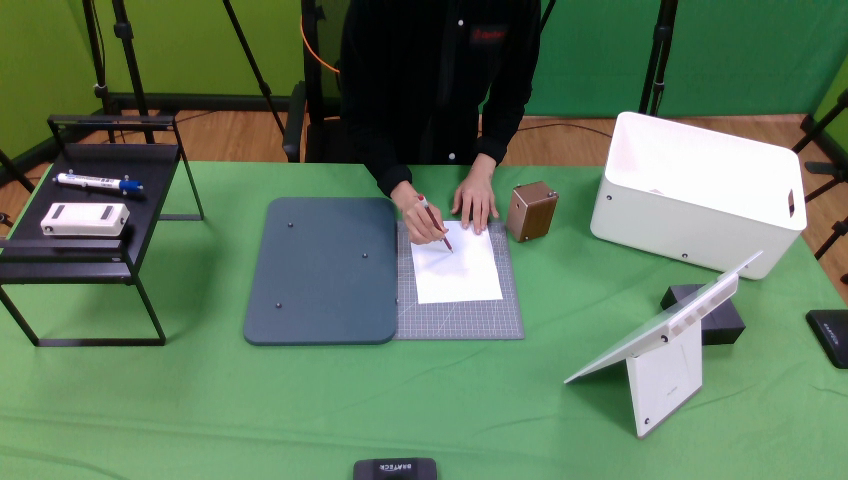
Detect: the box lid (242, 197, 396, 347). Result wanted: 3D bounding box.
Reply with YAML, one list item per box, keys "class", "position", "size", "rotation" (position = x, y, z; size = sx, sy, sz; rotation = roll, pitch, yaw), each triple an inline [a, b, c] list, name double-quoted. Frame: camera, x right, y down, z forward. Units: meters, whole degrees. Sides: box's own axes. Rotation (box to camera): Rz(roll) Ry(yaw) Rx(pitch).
- class: "box lid"
  position: [-0.186, 0.046, 1.147]
  size: [0.263, 0.015, 0.369]
  rotation: [0, 46, -3]

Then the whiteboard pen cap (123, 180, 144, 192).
- class: "whiteboard pen cap"
  position: [-0.479, -0.089, 0.993]
  size: [0.033, 0.018, 0.018]
  rotation: [7, 46, 14]

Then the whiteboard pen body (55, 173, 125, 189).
- class: "whiteboard pen body"
  position: [-0.539, -0.095, 0.998]
  size: [0.141, 0.017, 0.017]
  rotation: [6, 46, 6]

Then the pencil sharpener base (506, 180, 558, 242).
- class: "pencil sharpener base"
  position: [0.216, -0.058, 1.211]
  size: [0.077, 0.107, 0.061]
  rotation: [-16, 49, -19]

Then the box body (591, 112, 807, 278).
- class: "box body"
  position: [0.540, -0.092, 1.229]
  size: [0.363, 0.161, 0.253]
  rotation: [16, 47, 11]

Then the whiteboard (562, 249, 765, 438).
- class: "whiteboard"
  position: [0.386, 0.175, 0.905]
  size: [0.217, 0.306, 0.143]
  rotation: [-26, 72, -26]

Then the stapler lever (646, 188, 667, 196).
- class: "stapler lever"
  position: [0.507, -0.075, 1.262]
  size: [0.027, 0.040, 0.117]
  rotation: [-14, 46, -19]

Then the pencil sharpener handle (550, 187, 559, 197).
- class: "pencil sharpener handle"
  position: [0.261, -0.084, 1.221]
  size: [0.031, 0.068, 0.036]
  rotation: [-16, 66, -19]

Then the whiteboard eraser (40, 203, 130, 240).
- class: "whiteboard eraser"
  position: [-0.513, -0.028, 0.922]
  size: [0.113, 0.042, 0.055]
  rotation: [1, 48, -3]

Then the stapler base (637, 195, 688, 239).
- class: "stapler base"
  position: [0.507, -0.055, 1.280]
  size: [0.041, 0.024, 0.129]
  rotation: [-14, 47, -19]

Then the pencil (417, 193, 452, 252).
- class: "pencil"
  position: [0.023, -0.027, 1.112]
  size: [0.012, 0.195, 0.012]
  rotation: [-10, 56, 16]
